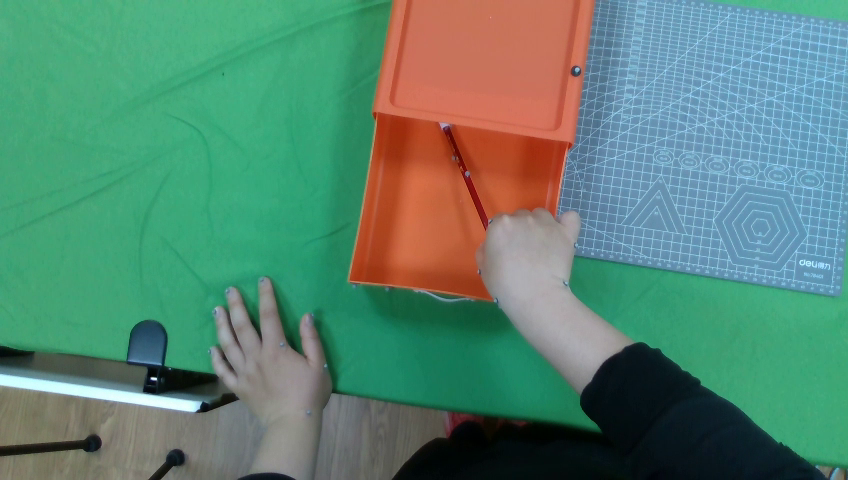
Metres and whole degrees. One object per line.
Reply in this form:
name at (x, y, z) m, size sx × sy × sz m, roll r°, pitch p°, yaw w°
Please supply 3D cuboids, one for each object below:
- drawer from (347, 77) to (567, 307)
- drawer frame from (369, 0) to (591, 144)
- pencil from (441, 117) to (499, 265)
drawer at (0.037, -0.047, 0.617) m, size 0.194 × 0.073 × 0.211 m, roll 8°, pitch 87°, yaw 4°
drawer frame at (0.061, -0.210, 0.626) m, size 0.201 × 0.083 × 0.213 m, roll 8°, pitch 85°, yaw 3°
pencil at (0.045, -0.064, 0.632) m, size 0.012 × 0.012 × 0.193 m, roll -19°, pitch 79°, yaw 1°
